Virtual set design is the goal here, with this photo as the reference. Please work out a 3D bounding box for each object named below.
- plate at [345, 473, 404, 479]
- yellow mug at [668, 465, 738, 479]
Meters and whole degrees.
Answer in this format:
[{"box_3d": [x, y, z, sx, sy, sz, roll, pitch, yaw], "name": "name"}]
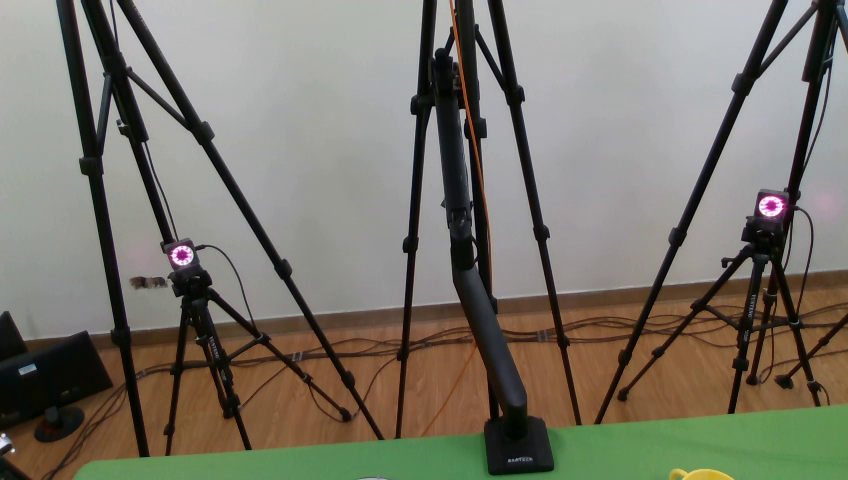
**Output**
[{"box_3d": [-0.094, 0.483, 1.003, 0.207, 0.039, 0.206, -5, 31, 3], "name": "plate"}, {"box_3d": [0.450, 0.416, 0.982, 0.100, 0.064, 0.129, -23, 33, -24], "name": "yellow mug"}]
